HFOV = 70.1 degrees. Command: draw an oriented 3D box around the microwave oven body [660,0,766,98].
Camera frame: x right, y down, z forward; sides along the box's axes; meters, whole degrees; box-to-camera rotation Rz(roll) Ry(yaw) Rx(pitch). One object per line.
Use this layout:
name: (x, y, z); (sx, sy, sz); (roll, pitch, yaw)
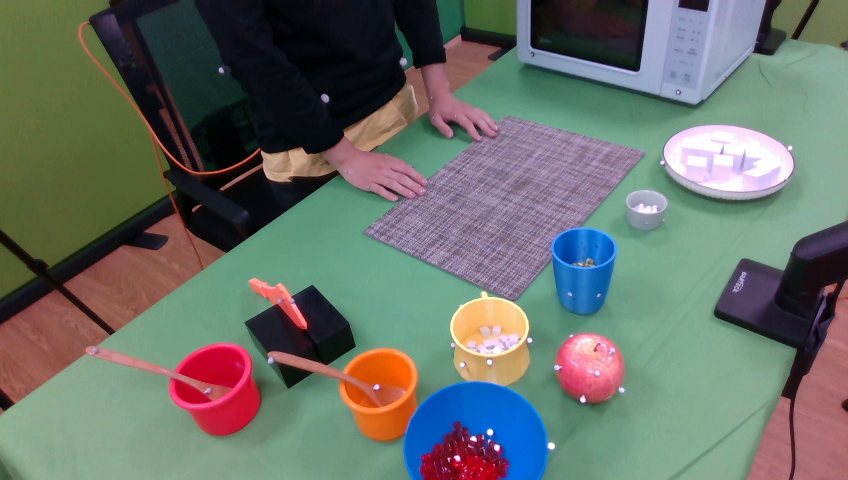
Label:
microwave oven body: (0.472, -0.513, 1.317); (0.438, 0.261, 0.327); (26, 51, 34)

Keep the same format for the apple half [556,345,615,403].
apple half: (0.181, 0.167, 0.709); (0.080, 0.081, 0.033); (29, 50, 35)

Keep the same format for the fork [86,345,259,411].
fork: (-0.298, 0.166, 0.728); (0.209, 0.018, 0.028); (28, 47, -23)

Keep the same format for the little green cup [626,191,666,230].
little green cup: (0.352, -0.046, 0.963); (0.061, 0.039, 0.061); (-4, 40, 4)

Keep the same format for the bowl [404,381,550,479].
bowl: (0.058, 0.235, 0.645); (0.151, 0.077, 0.150); (-4, 39, 4)

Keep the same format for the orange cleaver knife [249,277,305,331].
orange cleaver knife: (-0.210, 0.088, 0.855); (0.012, 0.077, 0.210); (-28, 15, -25)

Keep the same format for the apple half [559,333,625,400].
apple half: (0.209, 0.147, 0.730); (0.080, 0.075, 0.053); (26, 48, 38)

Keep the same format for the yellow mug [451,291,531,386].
yellow mug: (0.085, 0.120, 0.786); (0.100, 0.064, 0.130); (-6, 39, 1)

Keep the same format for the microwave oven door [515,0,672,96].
microwave oven door: (0.343, -0.455, 1.259); (0.353, 0.245, 0.039); (26, 51, 33)

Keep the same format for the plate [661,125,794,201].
plate: (0.513, -0.128, 1.035); (0.207, 0.039, 0.206); (-4, 40, 4)

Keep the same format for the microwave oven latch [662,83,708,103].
microwave oven latch: (0.518, -0.296, 1.204); (0.078, 0.029, 0.030); (27, 52, 35)

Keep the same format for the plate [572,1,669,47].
plate: (0.441, -0.484, 1.366); (0.209, 0.038, 0.208); (-5, 41, 5)

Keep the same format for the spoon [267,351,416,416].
spoon: (-0.091, 0.162, 0.699); (0.021, 0.195, 0.041); (-44, 31, 27)

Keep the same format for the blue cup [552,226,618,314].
blue cup: (0.218, 0.047, 0.826); (0.092, 0.101, 0.092); (-6, 40, 5)
